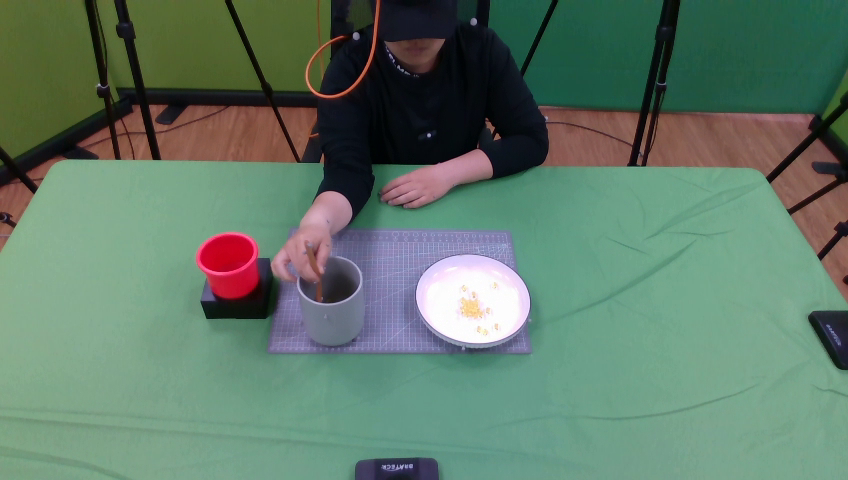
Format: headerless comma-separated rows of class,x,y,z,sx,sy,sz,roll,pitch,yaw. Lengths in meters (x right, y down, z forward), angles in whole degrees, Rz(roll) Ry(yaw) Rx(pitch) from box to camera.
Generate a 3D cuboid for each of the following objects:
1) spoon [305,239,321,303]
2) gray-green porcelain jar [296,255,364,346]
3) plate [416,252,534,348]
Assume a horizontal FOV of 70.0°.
spoon,-0.172,0.069,0.969,0.021,0.194,0.041,-18,45,-22
gray-green porcelain jar,-0.153,0.106,1.008,0.106,0.127,0.105,2,46,-2
plate,0.090,0.109,1.084,0.208,0.039,0.206,2,46,-2
